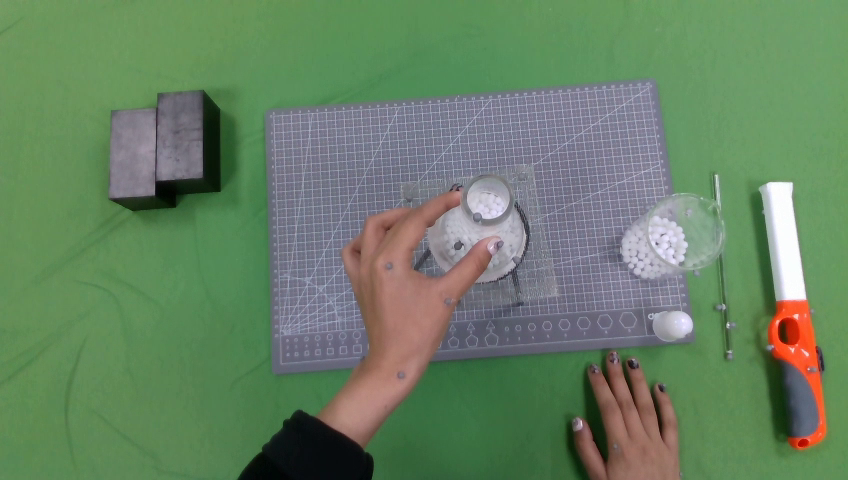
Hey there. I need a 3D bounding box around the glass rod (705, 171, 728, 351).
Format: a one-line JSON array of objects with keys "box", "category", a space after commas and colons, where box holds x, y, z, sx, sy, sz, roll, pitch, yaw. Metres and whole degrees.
[{"box": [0.318, 0.020, 0.659, 0.008, 0.008, 0.199, 0, 79, 1], "category": "glass rod"}]

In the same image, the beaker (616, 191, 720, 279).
[{"box": [0.244, -0.002, 0.614, 0.084, 0.100, 0.074, -41, 81, -7], "category": "beaker"}]

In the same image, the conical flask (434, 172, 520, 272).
[{"box": [0.044, -0.019, 0.476, 0.075, 0.122, 0.075, 0, 79, 2], "category": "conical flask"}]

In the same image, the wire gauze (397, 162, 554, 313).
[{"box": [0.045, -0.002, 0.534, 0.125, 0.011, 0.121, -8, 82, -2], "category": "wire gauze"}]

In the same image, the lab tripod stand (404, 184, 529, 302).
[{"box": [0.046, 0.008, 0.599, 0.148, 0.132, 0.148, 0, 81, 2], "category": "lab tripod stand"}]

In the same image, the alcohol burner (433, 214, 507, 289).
[{"box": [0.046, 0.008, 0.609, 0.078, 0.119, 0.077, -1, 77, 3], "category": "alcohol burner"}]

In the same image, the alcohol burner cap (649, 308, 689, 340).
[{"box": [0.256, 0.085, 0.627, 0.034, 0.048, 0.033, 0, 79, 3], "category": "alcohol burner cap"}]

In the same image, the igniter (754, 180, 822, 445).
[{"box": [0.382, 0.072, 0.637, 0.057, 0.025, 0.275, 0, 80, -9], "category": "igniter"}]
